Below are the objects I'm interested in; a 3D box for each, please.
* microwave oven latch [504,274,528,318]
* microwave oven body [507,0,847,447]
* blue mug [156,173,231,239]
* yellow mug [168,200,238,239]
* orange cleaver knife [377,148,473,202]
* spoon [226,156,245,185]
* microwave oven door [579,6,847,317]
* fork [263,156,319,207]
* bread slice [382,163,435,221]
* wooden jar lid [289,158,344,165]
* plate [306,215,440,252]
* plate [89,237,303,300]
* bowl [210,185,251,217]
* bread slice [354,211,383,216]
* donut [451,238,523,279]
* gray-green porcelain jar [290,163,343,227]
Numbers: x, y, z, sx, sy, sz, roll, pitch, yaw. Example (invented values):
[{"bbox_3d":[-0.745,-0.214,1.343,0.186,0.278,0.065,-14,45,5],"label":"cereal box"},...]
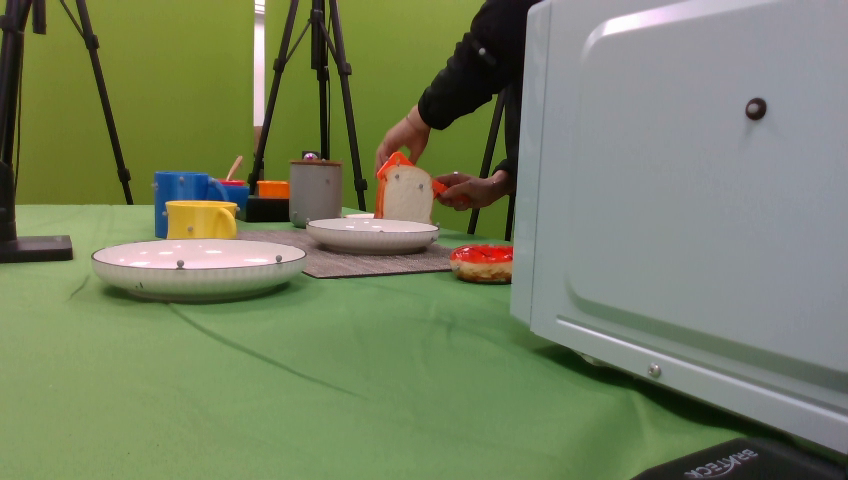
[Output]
[{"bbox_3d":[0.100,0.041,0.471,0.079,0.029,0.030,-1,8,-28],"label":"microwave oven latch"},{"bbox_3d":[0.331,-0.042,0.425,0.444,0.260,0.324,-2,8,-31],"label":"microwave oven body"},{"bbox_3d":[-0.381,-0.057,1.004,0.117,0.106,0.082,1,8,-12],"label":"blue mug"},{"bbox_3d":[-0.320,-0.023,0.904,0.130,0.064,0.100,9,11,36],"label":"yellow mug"},{"bbox_3d":[0.005,-0.107,1.185,0.212,0.077,0.012,26,-7,-28],"label":"orange cleaver knife"},{"bbox_3d":[-0.477,-0.145,1.492,0.041,0.022,0.193,0,51,12],"label":"spoon"},{"bbox_3d":[0.294,-0.067,0.570,0.358,0.243,0.039,-3,9,-31],"label":"microwave oven door"},{"bbox_3d":[-0.331,-0.144,1.505,0.207,0.018,0.028,-42,-20,22],"label":"fork"},{"bbox_3d":[-0.031,-0.075,1.118,0.107,0.134,0.018,-3,6,-25],"label":"bread slice"},{"bbox_3d":[-0.215,-0.153,1.212,0.108,0.020,0.108,2,5,0],"label":"wooden jar lid"},{"bbox_3d":[-0.079,-0.011,0.950,0.209,0.038,0.209,2,8,0],"label":"plate"},{"bbox_3d":[-0.233,0.029,0.637,0.208,0.039,0.207,2,7,0],"label":"plate"},{"bbox_3d":[-0.408,-0.064,1.155,0.151,0.077,0.151,2,8,0],"label":"bowl"},{"bbox_3d":[-0.105,-0.022,1.253,0.105,0.019,0.131,-11,33,-22],"label":"bread slice"},{"bbox_3d":[0.082,0.022,0.745,0.099,0.048,0.099,1,5,0],"label":"donut"},{"bbox_3d":[-0.217,-0.091,1.221,0.106,0.126,0.106,2,7,0],"label":"gray-green porcelain jar"}]
